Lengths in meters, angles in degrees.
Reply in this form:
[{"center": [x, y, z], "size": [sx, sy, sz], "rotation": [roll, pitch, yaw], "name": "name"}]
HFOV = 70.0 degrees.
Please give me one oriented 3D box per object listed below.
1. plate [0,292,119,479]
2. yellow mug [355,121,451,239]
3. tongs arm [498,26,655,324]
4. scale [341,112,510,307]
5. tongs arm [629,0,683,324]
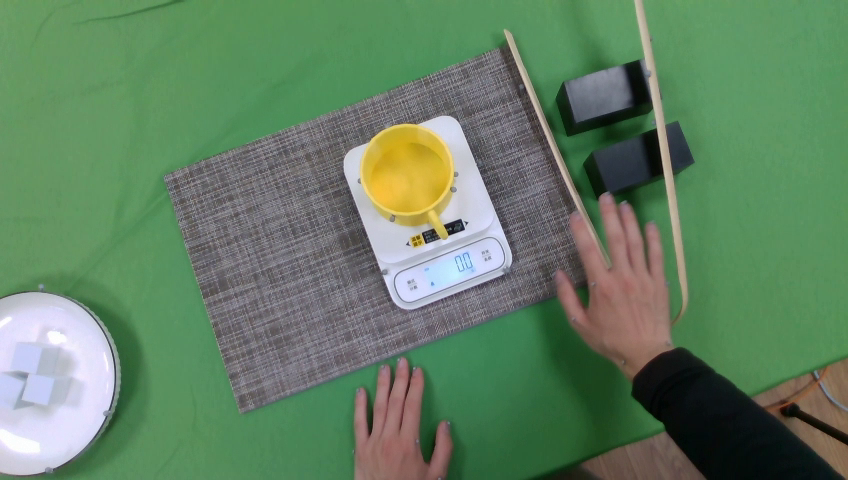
[{"center": [-0.451, 0.165, 0.699], "size": [0.207, 0.039, 0.207], "rotation": [0, 83, 2], "name": "plate"}, {"center": [-0.013, -0.058, 0.657], "size": [0.100, 0.064, 0.130], "rotation": [-31, 84, -2], "name": "yellow mug"}, {"center": [0.170, -0.079, 0.701], "size": [0.028, 0.028, 0.386], "rotation": [-26, 82, 24], "name": "tongs arm"}, {"center": [0.000, -0.036, 0.701], "size": [0.149, 0.031, 0.200], "rotation": [-21, 83, 0], "name": "scale"}, {"center": [0.237, -0.101, 0.660], "size": [0.050, 0.026, 0.384], "rotation": [-12, 89, 28], "name": "tongs arm"}]
